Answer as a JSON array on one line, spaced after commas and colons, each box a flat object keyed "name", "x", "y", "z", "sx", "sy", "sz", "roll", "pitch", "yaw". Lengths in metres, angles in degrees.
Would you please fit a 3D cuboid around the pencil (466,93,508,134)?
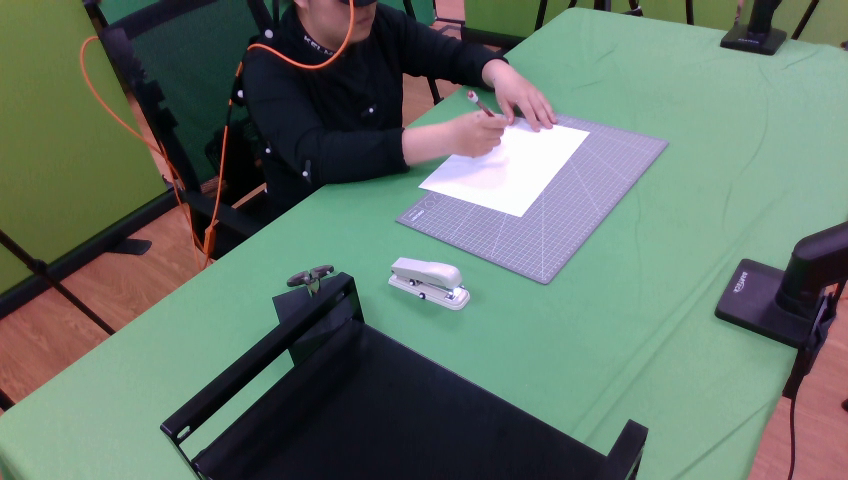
[{"name": "pencil", "x": 0.116, "y": -0.219, "z": 1.066, "sx": 0.012, "sy": 0.195, "sz": 0.012, "roll": -5, "pitch": 79, "yaw": 26}]

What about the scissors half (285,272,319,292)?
[{"name": "scissors half", "x": -0.172, "y": 0.063, "z": 0.868, "sx": 0.040, "sy": 0.013, "sz": 0.174, "roll": -10, "pitch": 7, "yaw": -21}]

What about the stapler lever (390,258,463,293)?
[{"name": "stapler lever", "x": 0.003, "y": 0.046, "z": 0.881, "sx": 0.117, "sy": 0.040, "sz": 0.027, "roll": 17, "pitch": 43, "yaw": 29}]

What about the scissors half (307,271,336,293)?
[{"name": "scissors half", "x": -0.152, "y": 0.061, "z": 0.872, "sx": 0.040, "sy": 0.013, "sz": 0.175, "roll": -3, "pitch": 5, "yaw": -4}]

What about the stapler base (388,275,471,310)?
[{"name": "stapler base", "x": 0.007, "y": 0.066, "z": 0.897, "sx": 0.129, "sy": 0.024, "sz": 0.041, "roll": 17, "pitch": 43, "yaw": 29}]
